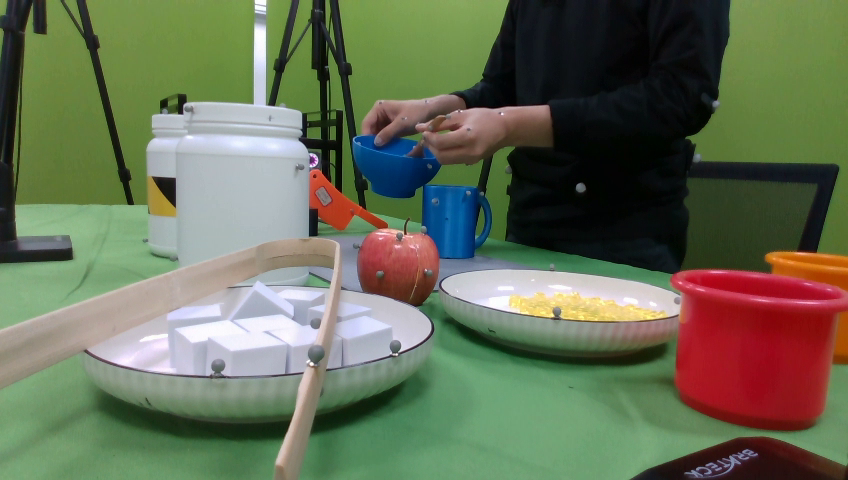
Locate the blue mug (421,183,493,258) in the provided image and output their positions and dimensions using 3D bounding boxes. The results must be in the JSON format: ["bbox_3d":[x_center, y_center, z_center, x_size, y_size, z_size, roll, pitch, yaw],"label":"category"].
[{"bbox_3d":[0.052,-0.032,0.912,0.117,0.106,0.082,-1,8,-24],"label":"blue mug"}]

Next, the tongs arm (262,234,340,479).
[{"bbox_3d":[-0.074,0.039,0.349,0.051,0.026,0.384,-2,10,-3],"label":"tongs arm"}]

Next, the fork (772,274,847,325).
[{"bbox_3d":[0.332,0.018,0.443,0.028,0.018,0.207,-1,-36,-15],"label":"fork"}]

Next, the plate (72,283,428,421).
[{"bbox_3d":[-0.102,0.066,0.381,0.208,0.039,0.207,2,7,0],"label":"plate"}]

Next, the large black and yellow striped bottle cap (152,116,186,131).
[{"bbox_3d":[-0.309,-0.155,0.826,0.115,0.019,0.115,3,6,0],"label":"large black and yellow striped bottle cap"}]

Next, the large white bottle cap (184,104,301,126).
[{"bbox_3d":[-0.184,-0.126,0.618,0.115,0.018,0.115,2,8,0],"label":"large white bottle cap"}]

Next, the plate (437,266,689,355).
[{"bbox_3d":[0.114,0.057,0.518,0.209,0.038,0.209,3,8,0],"label":"plate"}]

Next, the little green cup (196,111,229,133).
[{"bbox_3d":[-0.403,-0.225,1.154,0.061,0.038,0.061,3,8,0],"label":"little green cup"}]

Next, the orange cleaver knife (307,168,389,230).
[{"bbox_3d":[-0.158,-0.060,1.166,0.212,0.077,0.012,34,-12,-32],"label":"orange cleaver knife"}]

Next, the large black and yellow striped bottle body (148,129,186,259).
[{"bbox_3d":[-0.310,-0.073,0.838,0.131,0.184,0.130,2,8,0],"label":"large black and yellow striped bottle body"}]

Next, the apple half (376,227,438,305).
[{"bbox_3d":[-0.017,0.026,0.593,0.080,0.074,0.053,4,2,43],"label":"apple half"}]

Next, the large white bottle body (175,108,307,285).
[{"bbox_3d":[-0.188,-0.042,0.630,0.131,0.184,0.130,2,8,0],"label":"large white bottle body"}]

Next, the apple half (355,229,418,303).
[{"bbox_3d":[-0.044,0.027,0.564,0.081,0.081,0.033,9,5,42],"label":"apple half"}]

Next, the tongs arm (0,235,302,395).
[{"bbox_3d":[-0.157,0.038,0.351,0.028,0.028,0.388,-3,9,12],"label":"tongs arm"}]

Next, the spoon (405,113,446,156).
[{"bbox_3d":[-0.001,-0.146,0.876,0.042,0.021,0.193,0,-14,-14],"label":"spoon"}]

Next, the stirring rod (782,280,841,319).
[{"bbox_3d":[0.344,0.019,0.461,0.014,0.006,0.176,-13,-27,-30],"label":"stirring rod"}]

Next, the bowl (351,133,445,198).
[{"bbox_3d":[-0.046,-0.117,0.973,0.151,0.077,0.151,8,20,-3],"label":"bowl"}]
